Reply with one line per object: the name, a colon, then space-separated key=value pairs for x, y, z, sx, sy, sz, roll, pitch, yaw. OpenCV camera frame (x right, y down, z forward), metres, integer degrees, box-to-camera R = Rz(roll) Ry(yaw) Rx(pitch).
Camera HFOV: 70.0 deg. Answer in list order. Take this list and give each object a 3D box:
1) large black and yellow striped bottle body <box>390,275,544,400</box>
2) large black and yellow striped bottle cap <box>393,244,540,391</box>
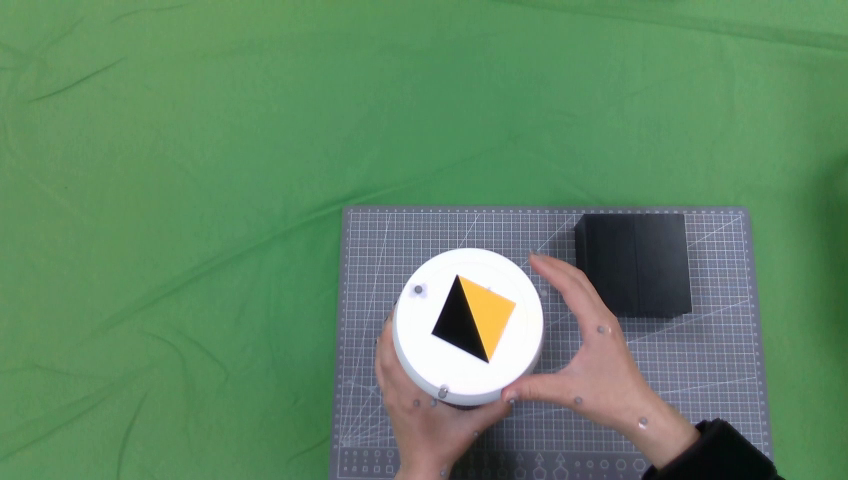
large black and yellow striped bottle body: x=0.038 y=0.080 z=0.558 sx=0.131 sy=0.185 sz=0.130 roll=0 pitch=77 yaw=2
large black and yellow striped bottle cap: x=0.033 y=0.060 z=0.473 sx=0.115 sy=0.019 sz=0.114 roll=-1 pitch=79 yaw=3
